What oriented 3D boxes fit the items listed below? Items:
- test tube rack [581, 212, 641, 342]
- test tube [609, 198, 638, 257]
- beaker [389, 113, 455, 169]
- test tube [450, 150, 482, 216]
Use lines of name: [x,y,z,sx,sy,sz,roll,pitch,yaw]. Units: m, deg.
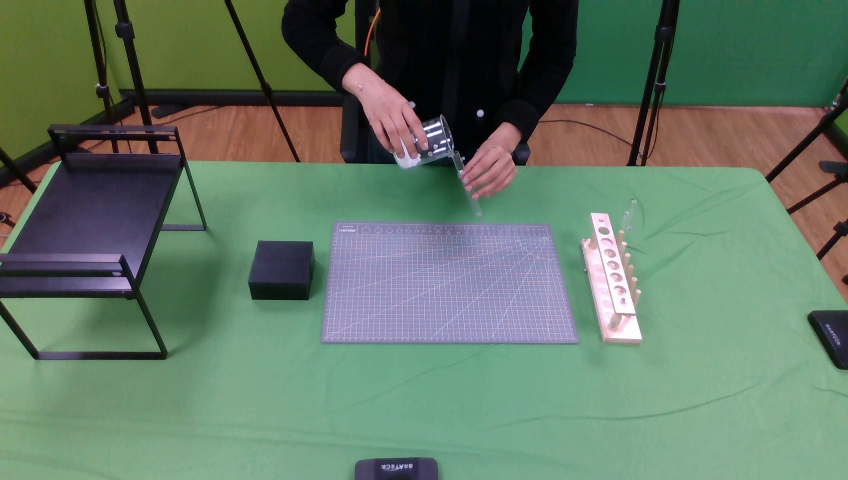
test tube rack: [0.351,0.063,1.121,0.067,0.085,0.241,3,46,-1]
test tube: [0.375,-0.021,1.141,0.017,0.151,0.017,2,45,-2]
beaker: [-0.003,-0.169,1.064,0.100,0.084,0.073,-16,47,13]
test tube: [0.080,-0.103,1.125,0.017,0.151,0.017,-16,37,13]
